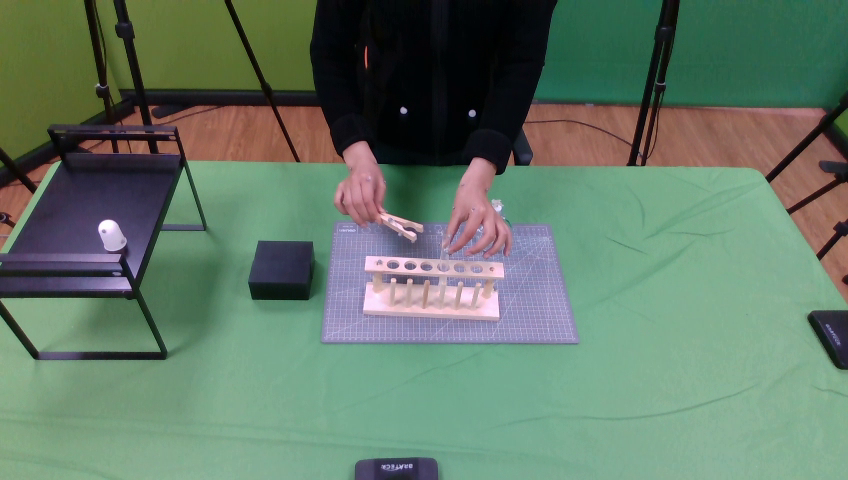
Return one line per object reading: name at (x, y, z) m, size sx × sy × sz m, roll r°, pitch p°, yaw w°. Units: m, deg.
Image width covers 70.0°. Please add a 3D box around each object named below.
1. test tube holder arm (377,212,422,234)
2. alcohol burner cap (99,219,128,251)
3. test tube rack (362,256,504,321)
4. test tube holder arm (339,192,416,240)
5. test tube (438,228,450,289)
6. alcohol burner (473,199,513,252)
test tube holder arm at (-0.045, -0.031, 1.047) m, size 0.087 × 0.015 × 0.010 m, roll 17°, pitch 50°, yaw 19°
alcohol burner cap at (-0.467, -0.010, 0.907) m, size 0.034 × 0.048 × 0.033 m, roll 2°, pitch 47°, yaw -2°
test tube rack at (0.015, 0.086, 1.069) m, size 0.242 × 0.085 × 0.066 m, roll 3°, pitch 46°, yaw -2°
test tube holder arm at (-0.085, -0.044, 1.062) m, size 0.177 × 0.015 × 0.013 m, roll 28°, pitch 53°, yaw 27°
test tube at (0.034, 0.036, 1.032) m, size 0.017 × 0.151 × 0.017 m, roll 1°, pitch 48°, yaw -1°
alcohol burner at (0.135, -0.033, 1.174) m, size 0.078 × 0.120 × 0.077 m, roll 1°, pitch 47°, yaw -1°
